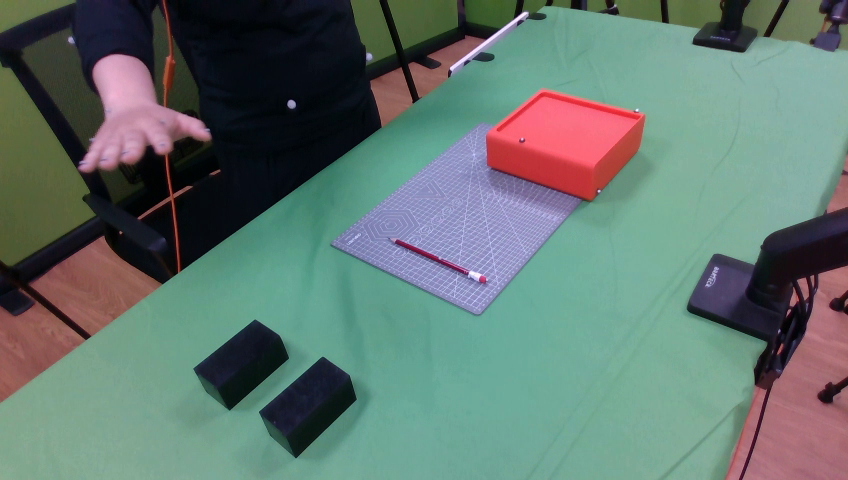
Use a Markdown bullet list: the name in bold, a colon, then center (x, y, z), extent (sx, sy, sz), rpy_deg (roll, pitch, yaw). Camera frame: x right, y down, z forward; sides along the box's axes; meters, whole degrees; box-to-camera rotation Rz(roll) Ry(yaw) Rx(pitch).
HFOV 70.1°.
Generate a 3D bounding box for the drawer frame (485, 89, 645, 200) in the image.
- **drawer frame**: center (0.254, -0.179, 1.094), extent (0.212, 0.083, 0.202), rpy_deg (24, 48, 30)

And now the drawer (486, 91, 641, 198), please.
- **drawer**: center (0.251, -0.178, 1.095), extent (0.210, 0.073, 0.195), rpy_deg (25, 48, 30)

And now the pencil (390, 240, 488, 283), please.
- **pencil**: center (0.018, 0.030, 0.938), extent (0.192, 0.012, 0.012), rpy_deg (22, 48, 33)
